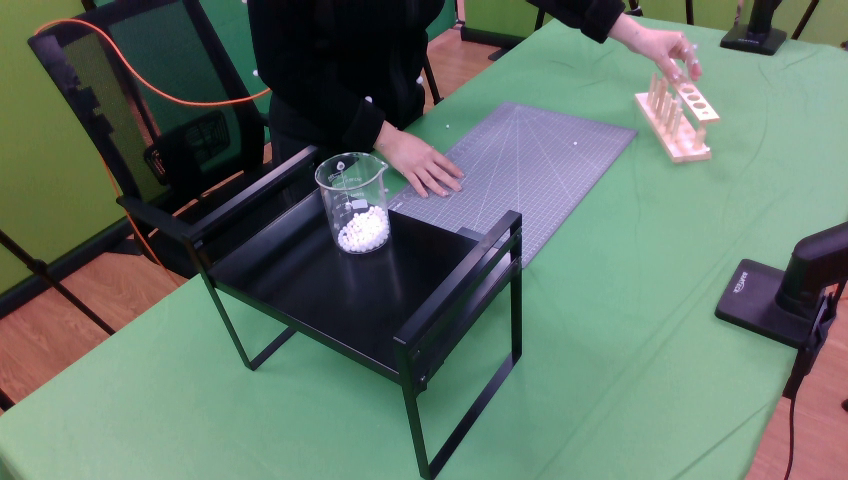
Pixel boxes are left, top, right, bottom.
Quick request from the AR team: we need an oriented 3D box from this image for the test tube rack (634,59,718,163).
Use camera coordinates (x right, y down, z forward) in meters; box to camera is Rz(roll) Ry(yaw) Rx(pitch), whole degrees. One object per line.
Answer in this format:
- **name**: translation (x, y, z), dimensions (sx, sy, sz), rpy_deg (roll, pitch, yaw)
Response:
- **test tube rack**: translation (0.471, -0.250, 1.148), dimensions (0.067, 0.085, 0.241), rpy_deg (-6, 40, 3)

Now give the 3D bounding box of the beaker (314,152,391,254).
- **beaker**: translation (-0.076, -0.041, 0.697), dimensions (0.084, 0.101, 0.073), rpy_deg (-15, 41, -10)

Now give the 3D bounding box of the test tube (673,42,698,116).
- **test tube**: translation (0.483, -0.296, 1.123), dimensions (0.017, 0.151, 0.017), rpy_deg (-2, 45, 2)
